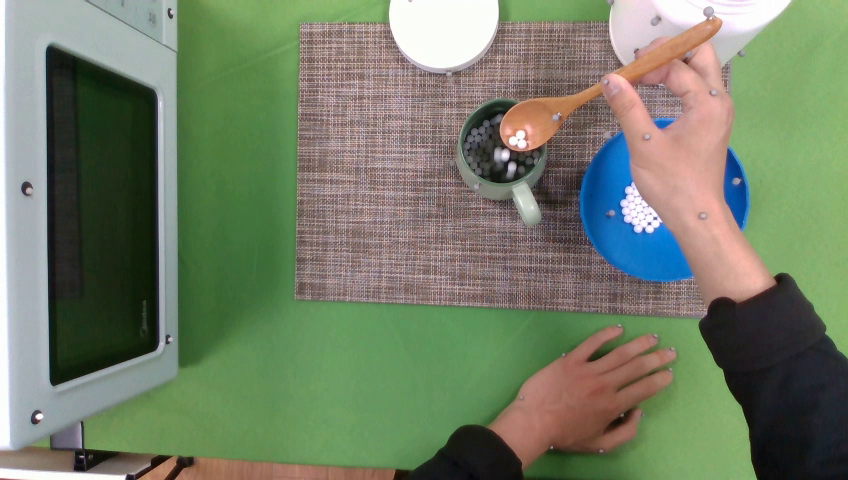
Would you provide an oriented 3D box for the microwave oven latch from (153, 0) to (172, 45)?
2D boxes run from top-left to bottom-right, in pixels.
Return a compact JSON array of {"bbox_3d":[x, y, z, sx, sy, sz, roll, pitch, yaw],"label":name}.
[{"bbox_3d":[-0.284,-0.249,0.638,0.030,0.029,0.079,1,93,5],"label":"microwave oven latch"}]

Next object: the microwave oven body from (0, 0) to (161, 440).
[{"bbox_3d":[-0.442,-0.071,0.563,0.326,0.260,0.441,0,93,5],"label":"microwave oven body"}]

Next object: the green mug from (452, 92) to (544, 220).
[{"bbox_3d":[0.079,-0.078,0.589,0.092,0.105,0.125,-25,89,5],"label":"green mug"}]

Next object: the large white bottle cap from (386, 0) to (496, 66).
[{"bbox_3d":[0.018,-0.241,0.632,0.115,0.018,0.115,0,91,5],"label":"large white bottle cap"}]

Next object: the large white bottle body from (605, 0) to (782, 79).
[{"bbox_3d":[0.239,-0.230,0.528,0.130,0.185,0.130,0,88,6],"label":"large white bottle body"}]

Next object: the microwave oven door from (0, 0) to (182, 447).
[{"bbox_3d":[-0.297,-0.028,0.546,0.039,0.244,0.356,0,92,6],"label":"microwave oven door"}]

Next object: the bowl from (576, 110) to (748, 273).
[{"bbox_3d":[0.220,-0.044,0.590,0.151,0.077,0.151,0,92,6],"label":"bowl"}]

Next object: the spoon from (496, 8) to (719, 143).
[{"bbox_3d":[0.128,-0.119,0.459,0.021,0.193,0.042,-42,104,-37],"label":"spoon"}]
